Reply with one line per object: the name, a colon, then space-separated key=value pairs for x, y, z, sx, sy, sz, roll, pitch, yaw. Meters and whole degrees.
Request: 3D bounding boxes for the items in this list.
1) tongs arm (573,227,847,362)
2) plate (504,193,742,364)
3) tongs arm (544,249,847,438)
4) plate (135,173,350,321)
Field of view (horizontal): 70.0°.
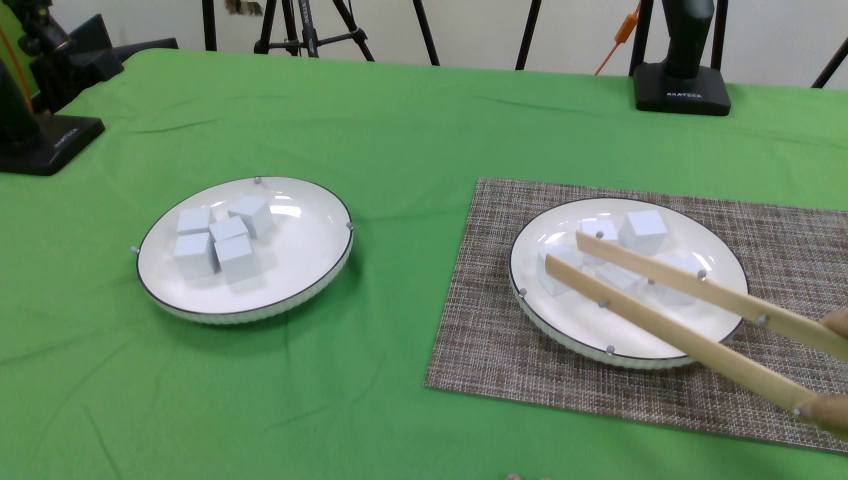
tongs arm: x=0.253 y=0.072 z=0.419 sx=0.051 sy=0.027 sz=0.381 roll=-37 pitch=43 yaw=-28
plate: x=0.177 y=0.034 z=0.560 sx=0.207 sy=0.039 sz=0.205 roll=-1 pitch=42 yaw=1
tongs arm: x=0.232 y=0.086 z=0.408 sx=0.028 sy=0.028 sz=0.383 roll=-32 pitch=40 yaw=-28
plate: x=-0.177 y=0.007 z=0.612 sx=0.209 sy=0.038 sz=0.207 roll=-1 pitch=42 yaw=1
